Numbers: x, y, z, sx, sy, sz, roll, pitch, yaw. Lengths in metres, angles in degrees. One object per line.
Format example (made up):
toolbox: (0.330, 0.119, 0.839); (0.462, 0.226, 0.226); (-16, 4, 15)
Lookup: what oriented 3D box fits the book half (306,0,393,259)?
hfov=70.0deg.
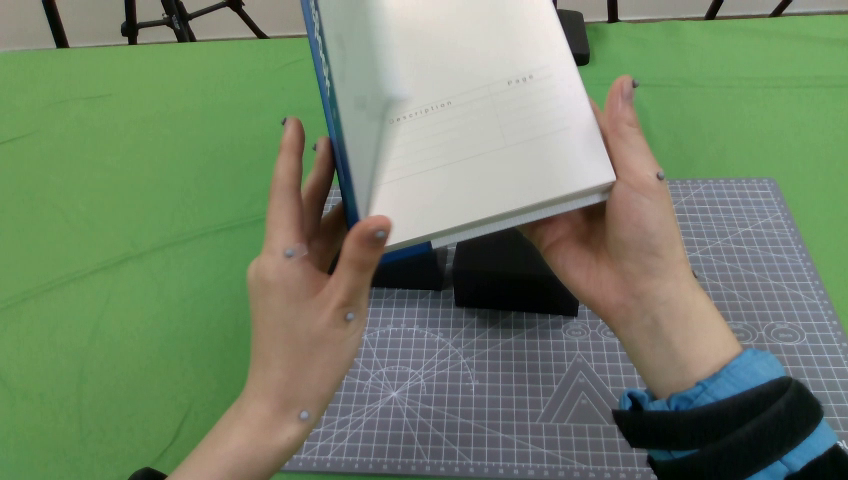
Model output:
book half: (-0.045, -0.112, 0.292); (0.007, 0.144, 0.208); (-7, 69, -13)

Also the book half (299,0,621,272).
book half: (0.011, -0.099, 0.356); (0.148, 0.016, 0.209); (-16, 72, 5)
